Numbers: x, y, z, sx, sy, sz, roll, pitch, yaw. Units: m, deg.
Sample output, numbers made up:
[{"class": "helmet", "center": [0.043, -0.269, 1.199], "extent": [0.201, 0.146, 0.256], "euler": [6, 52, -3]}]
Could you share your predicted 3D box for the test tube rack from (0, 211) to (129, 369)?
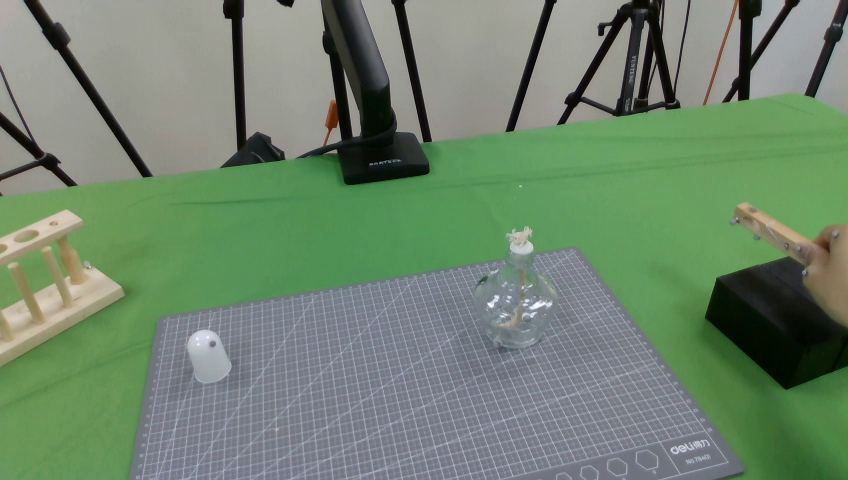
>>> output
[{"class": "test tube rack", "center": [-0.413, 0.070, 0.557], "extent": [0.066, 0.086, 0.242], "euler": [23, 42, 32]}]

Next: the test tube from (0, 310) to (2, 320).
[{"class": "test tube", "center": [-0.419, 0.015, 0.550], "extent": [0.017, 0.151, 0.017], "euler": [-1, 31, 1]}]

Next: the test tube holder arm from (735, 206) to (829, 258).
[{"class": "test tube holder arm", "center": [0.317, -0.005, 0.540], "extent": [0.015, 0.010, 0.087], "euler": [-19, 38, -15]}]

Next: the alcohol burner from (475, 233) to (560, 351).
[{"class": "alcohol burner", "center": [0.085, 0.042, 0.544], "extent": [0.078, 0.120, 0.077], "euler": [0, 37, 1]}]

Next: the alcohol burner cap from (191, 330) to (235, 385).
[{"class": "alcohol burner cap", "center": [-0.188, 0.101, 0.536], "extent": [0.034, 0.048, 0.033], "euler": [-1, 35, 1]}]

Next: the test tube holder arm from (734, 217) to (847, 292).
[{"class": "test tube holder arm", "center": [0.335, 0.022, 0.510], "extent": [0.015, 0.013, 0.176], "euler": [-19, 38, -15]}]
